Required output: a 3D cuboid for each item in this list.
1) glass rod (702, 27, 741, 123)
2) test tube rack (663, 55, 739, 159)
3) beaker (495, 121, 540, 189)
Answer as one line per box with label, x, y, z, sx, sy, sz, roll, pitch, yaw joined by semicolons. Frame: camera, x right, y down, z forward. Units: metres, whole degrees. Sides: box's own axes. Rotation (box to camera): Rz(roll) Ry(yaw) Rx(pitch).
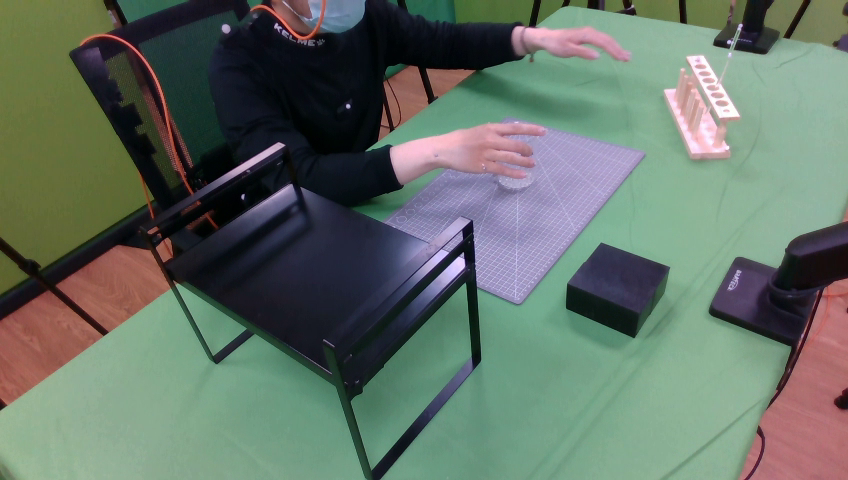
glass rod;0.527;-0.288;1.078;0.008;0.200;0.008;-1;50;2
test tube rack;0.517;-0.256;1.144;0.066;0.085;0.241;-1;41;8
beaker;0.166;-0.148;1.054;0.084;0.101;0.073;-23;43;-18
